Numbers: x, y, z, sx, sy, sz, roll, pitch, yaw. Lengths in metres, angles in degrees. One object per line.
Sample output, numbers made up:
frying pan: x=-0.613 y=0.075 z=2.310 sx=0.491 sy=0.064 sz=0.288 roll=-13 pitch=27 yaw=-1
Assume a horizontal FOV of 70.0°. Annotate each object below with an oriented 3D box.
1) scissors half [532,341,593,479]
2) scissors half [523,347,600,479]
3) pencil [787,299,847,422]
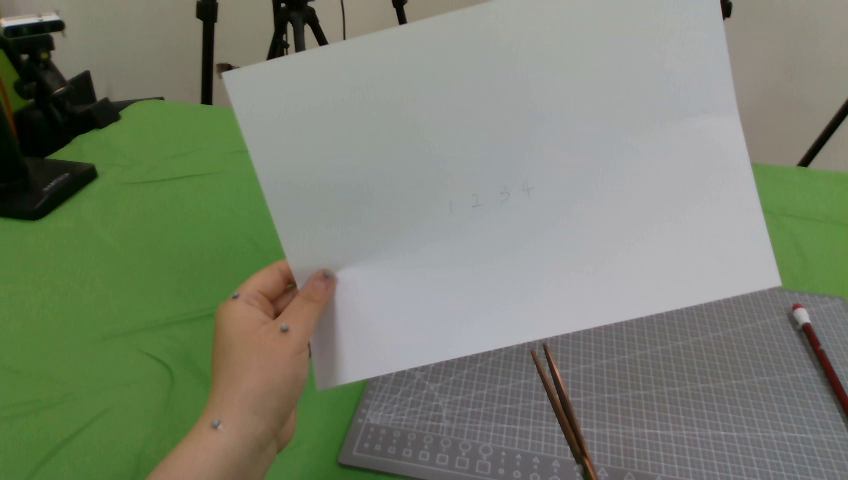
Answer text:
scissors half: x=0.094 y=0.144 z=0.365 sx=0.013 sy=0.175 sz=0.040 roll=-18 pitch=0 yaw=-16
scissors half: x=0.096 y=0.136 z=0.344 sx=0.013 sy=0.040 sz=0.173 roll=-19 pitch=58 yaw=-12
pencil: x=0.354 y=0.119 z=0.529 sx=0.012 sy=0.012 sz=0.192 roll=5 pitch=37 yaw=5
